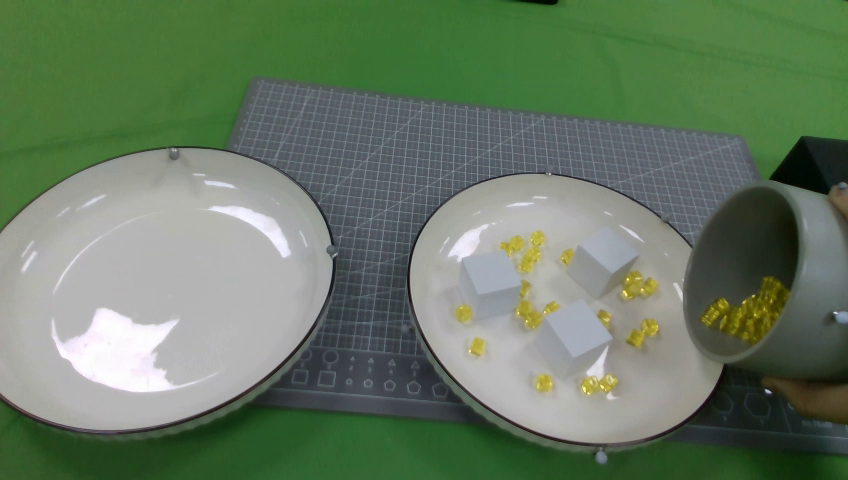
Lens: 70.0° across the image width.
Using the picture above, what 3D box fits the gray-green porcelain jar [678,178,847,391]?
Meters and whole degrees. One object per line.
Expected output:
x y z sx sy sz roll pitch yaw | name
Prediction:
0.231 0.030 0.345 0.127 0.106 0.105 14 51 -6 | gray-green porcelain jar

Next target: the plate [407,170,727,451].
0.091 0.040 0.401 0.208 0.039 0.205 4 52 -5 | plate

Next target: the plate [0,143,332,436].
-0.161 0.024 0.376 0.209 0.038 0.207 3 52 -4 | plate
